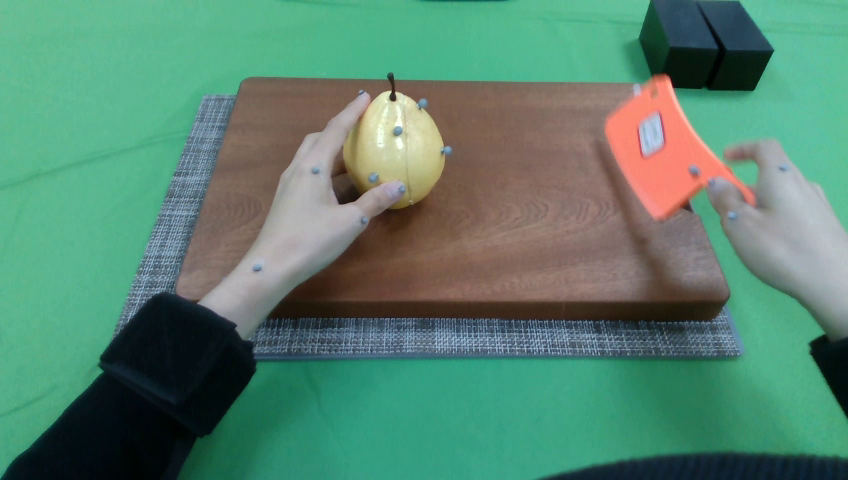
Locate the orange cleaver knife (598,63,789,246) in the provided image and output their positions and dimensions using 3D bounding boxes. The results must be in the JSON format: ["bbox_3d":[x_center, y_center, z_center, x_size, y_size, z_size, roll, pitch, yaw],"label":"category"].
[{"bbox_3d":[0.185,-0.058,0.449,0.012,0.077,0.209,16,37,-27],"label":"orange cleaver knife"}]

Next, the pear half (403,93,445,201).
[{"bbox_3d":[0.000,-0.073,0.467,0.031,0.089,0.069,-5,44,-5],"label":"pear half"}]

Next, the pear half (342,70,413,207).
[{"bbox_3d":[-0.035,-0.079,0.458,0.056,0.111,0.075,-4,43,-5],"label":"pear half"}]
